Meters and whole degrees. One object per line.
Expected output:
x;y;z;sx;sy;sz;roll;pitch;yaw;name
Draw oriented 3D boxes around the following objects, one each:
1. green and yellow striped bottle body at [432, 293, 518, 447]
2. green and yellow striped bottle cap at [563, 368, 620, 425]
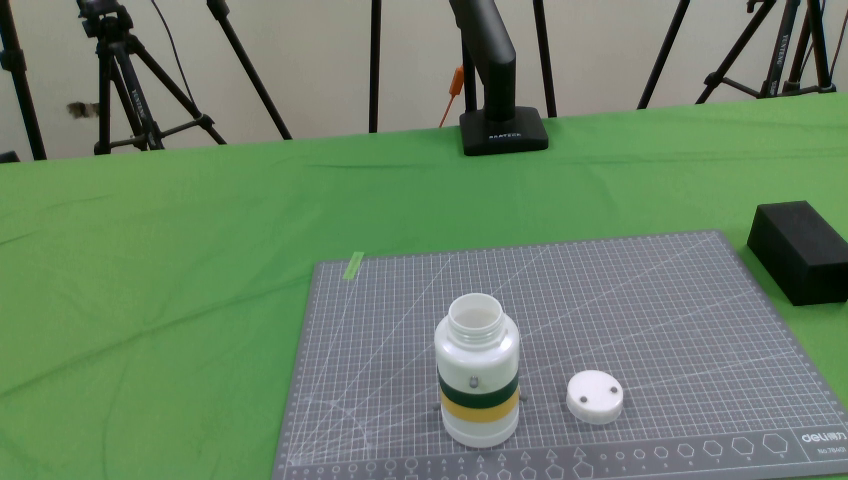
0.039;0.096;0.460;0.063;0.121;0.062;-4;37;3;green and yellow striped bottle body
0.137;0.127;0.495;0.045;0.020;0.045;-3;38;3;green and yellow striped bottle cap
